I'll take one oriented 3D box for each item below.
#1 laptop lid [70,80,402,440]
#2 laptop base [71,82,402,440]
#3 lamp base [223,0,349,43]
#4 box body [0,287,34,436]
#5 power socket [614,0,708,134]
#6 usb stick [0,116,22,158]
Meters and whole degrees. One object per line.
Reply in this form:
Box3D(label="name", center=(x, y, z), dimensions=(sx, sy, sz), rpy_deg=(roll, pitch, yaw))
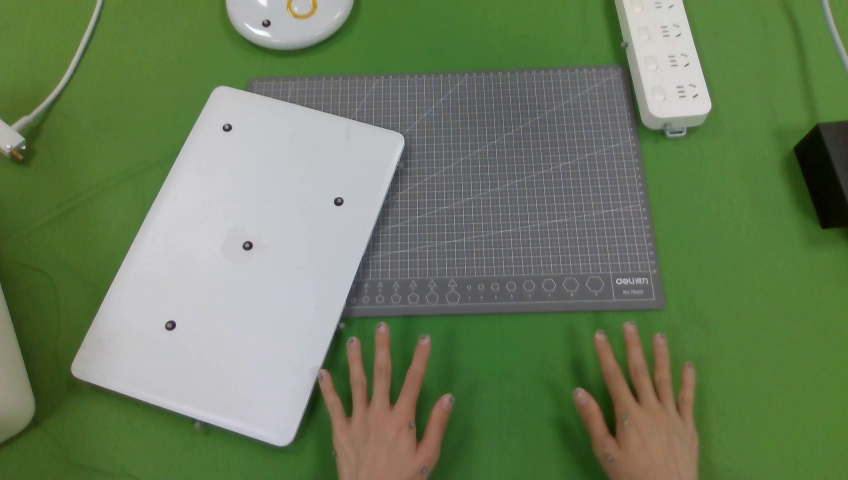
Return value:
Box3D(label="laptop lid", center=(-0.184, 0.001, 0.632), dimensions=(0.241, 0.013, 0.355), rpy_deg=(18, 72, 6))
Box3D(label="laptop base", center=(-0.186, 0.005, 0.643), dimensions=(0.235, 0.023, 0.352), rpy_deg=(17, 71, 5))
Box3D(label="lamp base", center=(-0.182, -0.349, 0.687), dimensions=(0.160, 0.181, 0.178), rpy_deg=(-39, 70, -12))
Box3D(label="box body", center=(-0.559, 0.061, 0.554), dimensions=(0.254, 0.161, 0.361), rpy_deg=(-28, 71, -9))
Box3D(label="power socket", center=(0.272, -0.231, 0.708), dimensions=(0.072, 0.033, 0.225), rpy_deg=(-4, 69, -1))
Box3D(label="usb stick", center=(-0.479, -0.120, 0.687), dimensions=(0.059, 0.021, 0.027), rpy_deg=(47, 58, -14))
